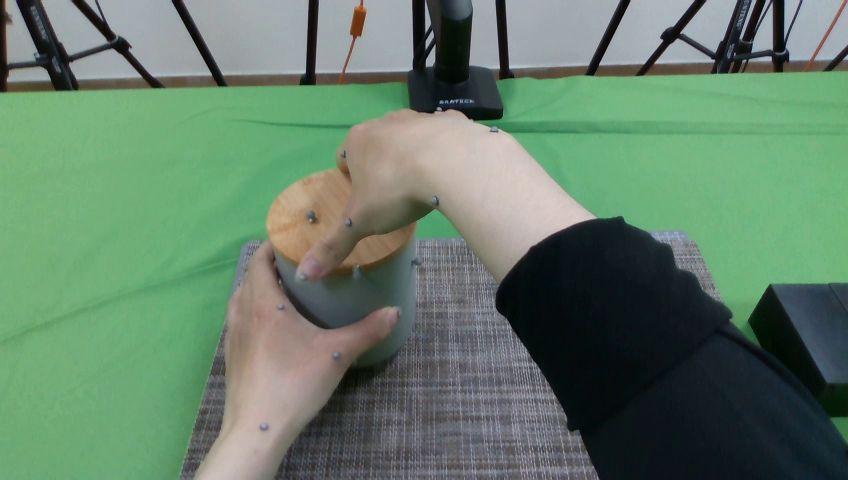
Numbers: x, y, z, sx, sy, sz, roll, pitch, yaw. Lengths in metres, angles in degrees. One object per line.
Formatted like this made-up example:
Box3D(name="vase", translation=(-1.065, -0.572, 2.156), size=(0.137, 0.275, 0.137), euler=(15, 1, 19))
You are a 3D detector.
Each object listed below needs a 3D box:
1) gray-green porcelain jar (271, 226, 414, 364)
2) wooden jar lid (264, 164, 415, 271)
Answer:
Box3D(name="gray-green porcelain jar", translation=(-0.061, 0.029, 0.484), size=(0.106, 0.127, 0.105), euler=(1, 44, 0))
Box3D(name="wooden jar lid", translation=(-0.060, -0.015, 0.441), size=(0.108, 0.021, 0.107), euler=(1, 46, -1))
